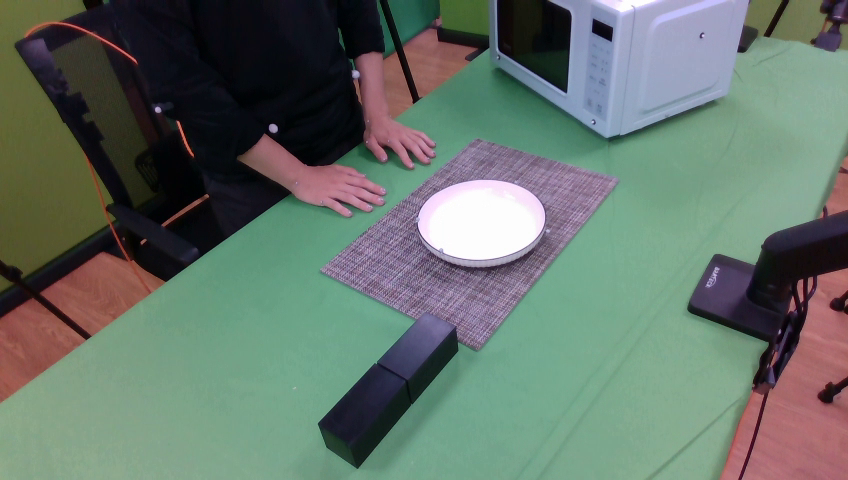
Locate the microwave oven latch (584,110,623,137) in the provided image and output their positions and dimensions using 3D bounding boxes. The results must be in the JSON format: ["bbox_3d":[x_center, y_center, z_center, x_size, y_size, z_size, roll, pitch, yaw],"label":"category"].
[{"bbox_3d":[0.337,-0.222,1.142,0.030,0.029,0.078,-21,42,-14],"label":"microwave oven latch"}]

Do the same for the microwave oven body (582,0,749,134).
[{"bbox_3d":[0.382,-0.444,1.246,0.327,0.261,0.437,-22,42,-16],"label":"microwave oven body"}]

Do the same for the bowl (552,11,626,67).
[{"bbox_3d":[0.343,-0.418,1.278,0.151,0.077,0.150,-1,41,1],"label":"bowl"}]

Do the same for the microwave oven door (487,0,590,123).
[{"bbox_3d":[0.232,-0.420,1.231,0.039,0.245,0.352,-22,43,-16],"label":"microwave oven door"}]

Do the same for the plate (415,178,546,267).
[{"bbox_3d":[0.091,-0.026,0.970,0.207,0.039,0.206,-4,41,4],"label":"plate"}]
